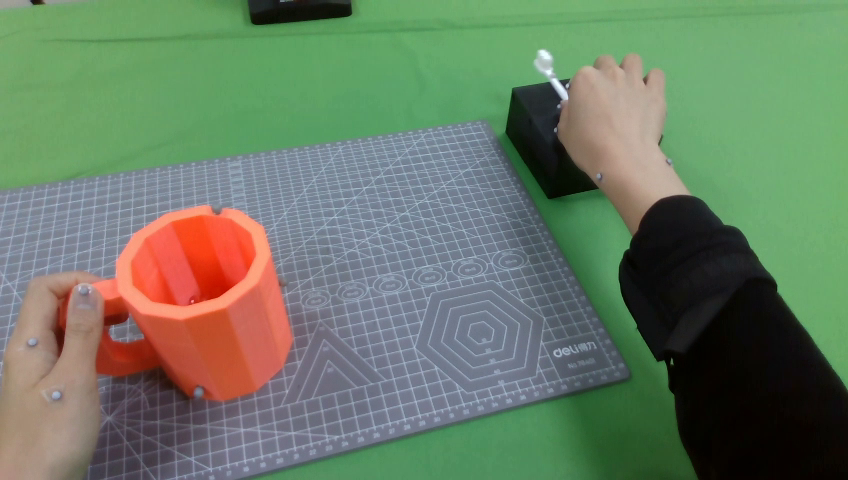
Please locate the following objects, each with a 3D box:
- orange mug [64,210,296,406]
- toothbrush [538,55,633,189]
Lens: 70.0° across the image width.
[{"bbox_3d":[-0.149,0.048,0.382,0.126,0.101,0.082,-12,50,-18],"label":"orange mug"},{"bbox_3d":[0.138,-0.108,0.530,0.014,0.017,0.180,-4,48,-18],"label":"toothbrush"}]
